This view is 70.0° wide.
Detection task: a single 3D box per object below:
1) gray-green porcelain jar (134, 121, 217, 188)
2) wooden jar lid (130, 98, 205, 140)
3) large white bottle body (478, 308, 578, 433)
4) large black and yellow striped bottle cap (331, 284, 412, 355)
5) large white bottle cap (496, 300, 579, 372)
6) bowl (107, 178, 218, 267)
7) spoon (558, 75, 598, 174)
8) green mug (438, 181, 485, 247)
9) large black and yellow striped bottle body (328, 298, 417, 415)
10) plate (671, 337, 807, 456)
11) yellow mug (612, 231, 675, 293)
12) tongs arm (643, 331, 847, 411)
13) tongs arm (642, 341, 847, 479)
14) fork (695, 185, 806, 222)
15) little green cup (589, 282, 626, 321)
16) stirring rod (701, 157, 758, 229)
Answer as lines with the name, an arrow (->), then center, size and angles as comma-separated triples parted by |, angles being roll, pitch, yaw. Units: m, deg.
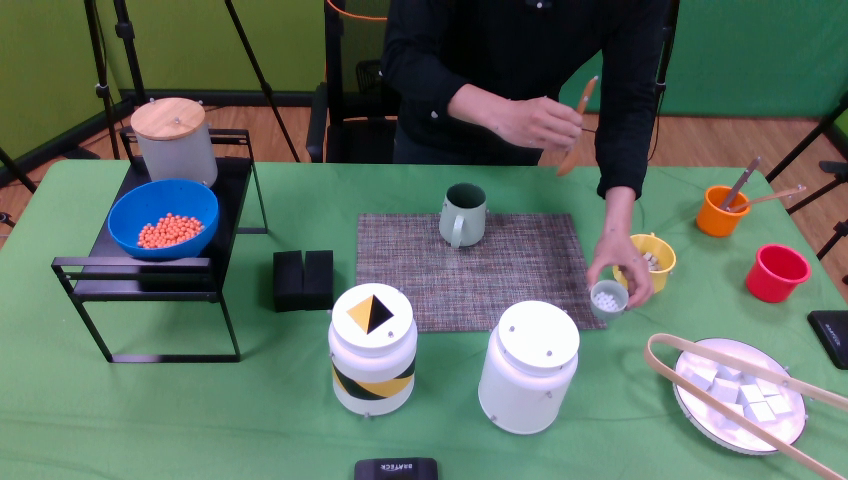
gray-green porcelain jar -> -0.397, -0.141, 0.980 | 0.106, 0.127, 0.105 | 2, 47, -2
wooden jar lid -> -0.393, -0.183, 0.934 | 0.108, 0.021, 0.107 | 2, 44, -2
large white bottle body -> 0.156, 0.192, 0.913 | 0.131, 0.185, 0.130 | 2, 46, -2
large black and yellow striped bottle cap -> -0.073, 0.110, 0.857 | 0.115, 0.019, 0.114 | 2, 46, -2
large white bottle cap -> 0.160, 0.133, 0.852 | 0.115, 0.018, 0.114 | 3, 46, -3
bowl -> -0.374, -0.014, 0.893 | 0.151, 0.077, 0.150 | 2, 46, -2
spoon -> 0.238, -0.173, 0.939 | 0.041, 0.195, 0.021 | -27, 54, -22
green mug -> 0.071, -0.039, 1.177 | 0.092, 0.105, 0.124 | 12, 47, 7
large black and yellow striped bottle body -> -0.078, 0.167, 0.920 | 0.131, 0.185, 0.130 | 2, 46, -2
plate -> 0.504, 0.254, 0.984 | 0.208, 0.039, 0.206 | 2, 46, -2
yellow mug -> 0.423, 0.033, 1.168 | 0.100, 0.064, 0.130 | 18, 46, 13
tongs arm -> 0.546, 0.227, 0.968 | 0.384, 0.026, 0.050 | 22, 52, 13
tongs arm -> 0.504, 0.279, 0.918 | 0.386, 0.028, 0.028 | 34, 59, 22
fork -> 0.657, -0.074, 1.229 | 0.207, 0.019, 0.028 | -23, 37, 37
little green cup -> 0.307, 0.106, 1.022 | 0.061, 0.039, 0.061 | -3, 53, 4
stirring rod -> 0.634, -0.097, 1.257 | 0.014, 0.006, 0.176 | 38, 97, 29
